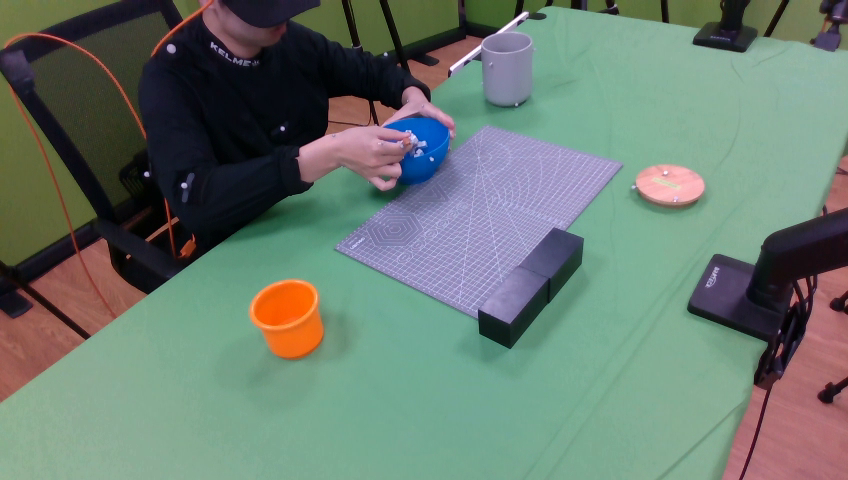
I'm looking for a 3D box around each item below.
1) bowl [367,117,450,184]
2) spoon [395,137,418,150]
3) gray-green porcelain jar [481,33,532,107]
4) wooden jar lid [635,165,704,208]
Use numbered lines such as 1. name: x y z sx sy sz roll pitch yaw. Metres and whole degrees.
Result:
1. bowl: -0.023 -0.154 1.107 0.151 0.077 0.150 -6 39 5
2. spoon: -0.032 -0.168 1.044 0.041 0.021 0.193 0 6 -1
3. gray-green porcelain jar: 0.175 -0.355 1.278 0.106 0.127 0.105 -4 41 4
4. wooden jar lid: 0.410 -0.089 1.014 0.108 0.021 0.108 -5 42 5
